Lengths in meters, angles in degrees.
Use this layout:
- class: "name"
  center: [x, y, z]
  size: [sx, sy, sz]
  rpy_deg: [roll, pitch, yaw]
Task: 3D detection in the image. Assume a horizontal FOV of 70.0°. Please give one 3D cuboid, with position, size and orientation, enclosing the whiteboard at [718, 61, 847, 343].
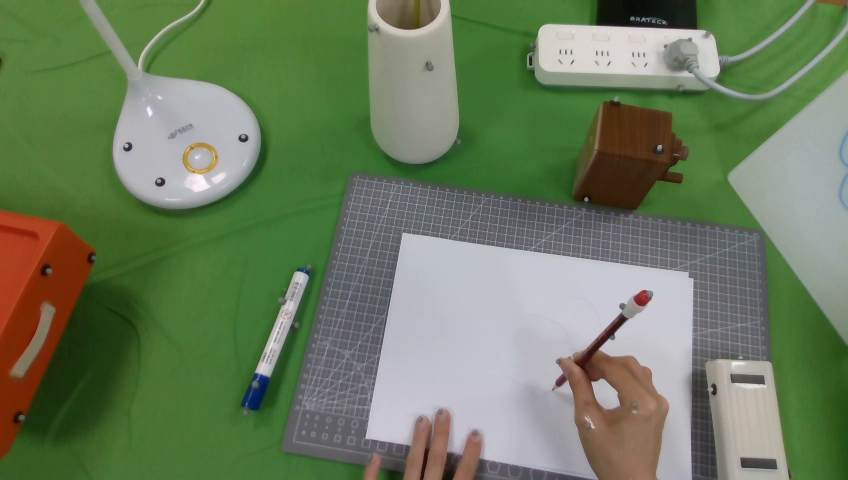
- class: "whiteboard"
  center: [0.475, -0.077, 0.542]
  size: [0.144, 0.307, 0.215]
  rpy_deg: [-15, 66, -26]

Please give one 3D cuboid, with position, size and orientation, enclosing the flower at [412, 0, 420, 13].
- class: "flower"
  center: [-0.006, -0.213, 0.534]
  size: [0.038, 0.365, 0.043]
  rpy_deg: [-4, 49, -9]

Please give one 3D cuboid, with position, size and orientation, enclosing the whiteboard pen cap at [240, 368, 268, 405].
- class: "whiteboard pen cap"
  center: [-0.159, 0.137, 0.569]
  size: [0.018, 0.018, 0.033]
  rpy_deg: [13, 62, 6]

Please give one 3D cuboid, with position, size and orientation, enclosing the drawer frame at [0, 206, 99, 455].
- class: "drawer frame"
  center: [-0.439, 0.062, 0.528]
  size: [0.213, 0.083, 0.200]
  rpy_deg: [11, 69, 3]

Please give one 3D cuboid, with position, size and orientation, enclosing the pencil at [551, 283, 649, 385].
- class: "pencil"
  center: [0.137, 0.085, 0.499]
  size: [0.012, 0.195, 0.012]
  rpy_deg: [5, 57, -7]

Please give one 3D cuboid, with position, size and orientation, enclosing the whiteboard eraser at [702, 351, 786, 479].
- class: "whiteboard eraser"
  center: [0.288, 0.159, 0.551]
  size: [0.055, 0.042, 0.112]
  rpy_deg: [3, 68, 0]

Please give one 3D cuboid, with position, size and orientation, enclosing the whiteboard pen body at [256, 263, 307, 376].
- class: "whiteboard pen body"
  center: [-0.143, 0.086, 0.594]
  size: [0.017, 0.017, 0.140]
  rpy_deg: [13, 64, 6]

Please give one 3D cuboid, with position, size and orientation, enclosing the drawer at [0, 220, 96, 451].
- class: "drawer"
  center: [-0.433, 0.061, 0.526]
  size: [0.211, 0.074, 0.193]
  rpy_deg: [11, 69, 5]

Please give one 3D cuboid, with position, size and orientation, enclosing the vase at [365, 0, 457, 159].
- class: "vase"
  center: [-0.015, -0.165, 0.603]
  size: [0.098, 0.201, 0.097]
  rpy_deg: [-1, 67, 2]

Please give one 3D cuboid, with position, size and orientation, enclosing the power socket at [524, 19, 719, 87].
- class: "power socket"
  center: [0.234, -0.221, 0.715]
  size: [0.227, 0.033, 0.071]
  rpy_deg: [3, 68, 1]

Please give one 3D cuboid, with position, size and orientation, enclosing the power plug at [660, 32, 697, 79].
- class: "power plug"
  center: [0.283, -0.201, 0.682]
  size: [0.035, 0.053, 0.072]
  rpy_deg: [12, 69, 6]

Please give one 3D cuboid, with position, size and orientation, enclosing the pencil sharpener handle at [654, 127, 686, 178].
- class: "pencil sharpener handle"
  center: [0.251, -0.084, 0.606]
  size: [0.030, 0.068, 0.036]
  rpy_deg: [11, 66, 5]

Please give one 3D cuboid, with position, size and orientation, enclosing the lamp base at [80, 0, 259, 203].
- class: "lamp base"
  center: [-0.275, -0.150, 0.607]
  size: [0.178, 0.181, 0.160]
  rpy_deg: [40, 73, 18]

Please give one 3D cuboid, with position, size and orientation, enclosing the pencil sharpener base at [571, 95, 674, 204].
- class: "pencil sharpener base"
  center: [0.201, -0.089, 0.621]
  size: [0.076, 0.108, 0.061]
  rpy_deg: [11, 67, 5]
